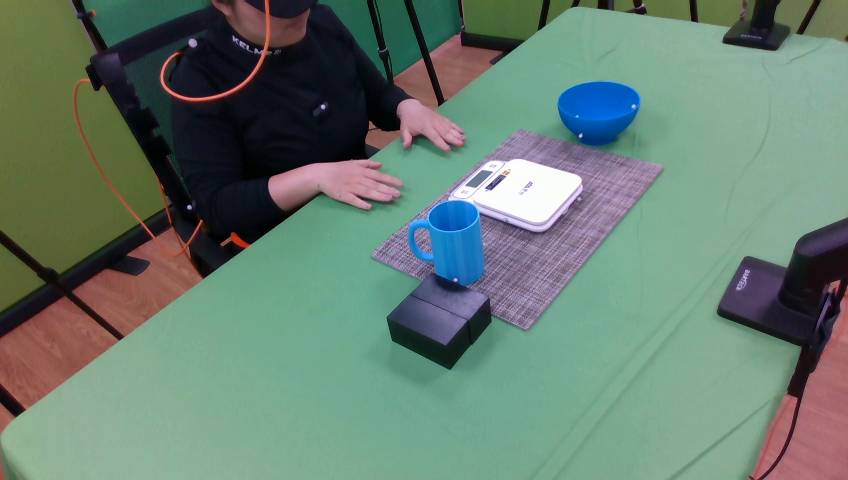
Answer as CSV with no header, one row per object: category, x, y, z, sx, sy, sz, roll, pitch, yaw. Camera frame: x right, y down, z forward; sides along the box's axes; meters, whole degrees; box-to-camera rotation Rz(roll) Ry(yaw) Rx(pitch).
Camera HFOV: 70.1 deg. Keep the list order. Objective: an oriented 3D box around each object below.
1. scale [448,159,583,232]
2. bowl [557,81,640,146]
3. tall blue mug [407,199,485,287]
scale,0.156,-0.085,1.039,0.199,0.032,0.149,22,49,32
bowl,0.330,-0.233,1.152,0.151,0.077,0.150,-5,40,5
tall blue mug,0.034,0.008,0.892,0.107,0.108,0.077,-13,41,-5
